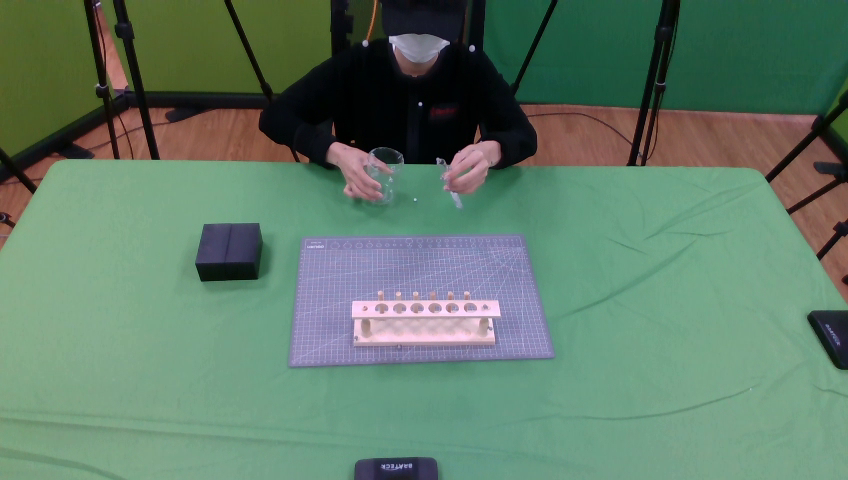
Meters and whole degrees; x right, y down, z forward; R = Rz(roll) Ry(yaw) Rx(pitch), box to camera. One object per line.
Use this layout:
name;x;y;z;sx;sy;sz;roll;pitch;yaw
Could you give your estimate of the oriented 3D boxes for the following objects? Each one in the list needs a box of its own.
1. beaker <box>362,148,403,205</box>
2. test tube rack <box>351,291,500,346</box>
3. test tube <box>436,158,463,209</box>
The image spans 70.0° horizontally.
beaker;-0.086;-0.129;1.242;0.084;0.100;0.073;-30;63;-33
test tube rack;0.001;0.129;1.026;0.242;0.085;0.066;0;46;-4
test tube;0.048;-0.099;1.108;0.017;0.151;0.017;-8;59;14
